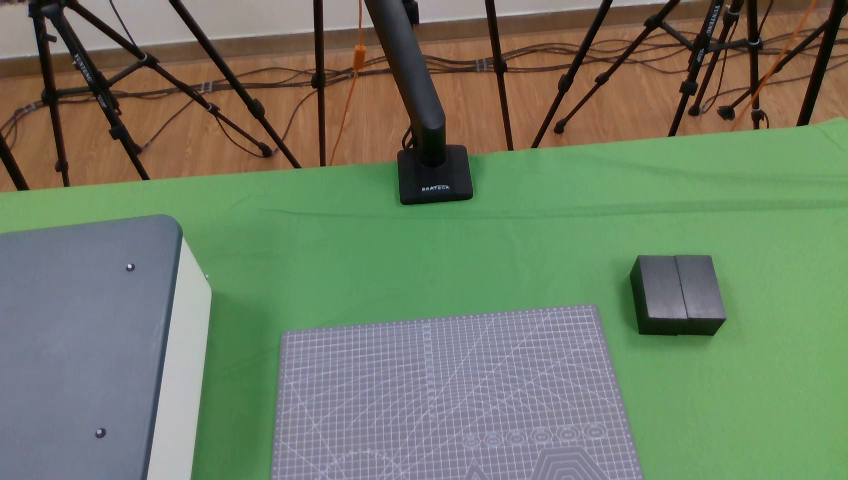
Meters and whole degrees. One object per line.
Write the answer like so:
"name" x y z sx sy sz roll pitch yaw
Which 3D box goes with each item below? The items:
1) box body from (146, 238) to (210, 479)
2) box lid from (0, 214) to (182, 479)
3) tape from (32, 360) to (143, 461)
"box body" -0.420 0.172 0.743 0.254 0.162 0.360 -6 55 -2
"box lid" -0.423 0.128 0.684 0.263 0.015 0.367 -6 56 -2
"tape" -0.427 0.217 0.772 0.117 0.053 0.115 -3 53 4
